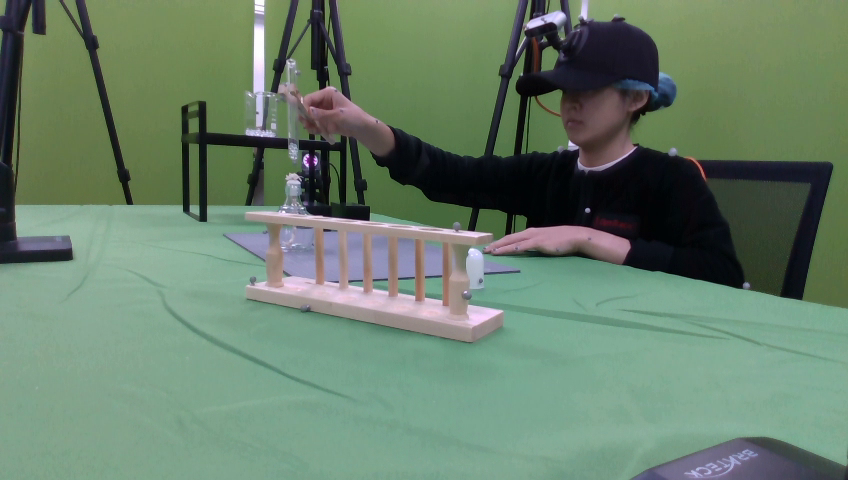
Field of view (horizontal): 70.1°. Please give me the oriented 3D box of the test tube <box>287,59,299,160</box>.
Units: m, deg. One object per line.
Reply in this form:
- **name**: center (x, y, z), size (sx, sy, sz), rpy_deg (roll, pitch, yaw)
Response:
- **test tube**: center (-0.193, -0.192, 0.890), size (0.017, 0.150, 0.017), rpy_deg (-1, -6, 0)

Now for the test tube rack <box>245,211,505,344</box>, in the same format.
- **test tube rack**: center (-0.049, 0.025, 0.547), size (0.241, 0.085, 0.067), rpy_deg (7, 8, 29)

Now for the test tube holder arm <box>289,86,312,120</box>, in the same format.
- **test tube holder arm**: center (-0.185, -0.206, 0.914), size (0.010, 0.015, 0.088), rpy_deg (5, -14, 6)

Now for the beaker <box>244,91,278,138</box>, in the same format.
- **beaker**: center (-0.368, -0.280, 1.356), size (0.074, 0.100, 0.084), rpy_deg (4, 8, 6)

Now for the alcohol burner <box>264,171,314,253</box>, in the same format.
- **alcohol burner**: center (-0.194, -0.042, 0.888), size (0.078, 0.119, 0.078), rpy_deg (3, 5, 0)

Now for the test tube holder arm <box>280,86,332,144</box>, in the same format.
- **test tube holder arm**: center (-0.183, -0.195, 0.958), size (0.013, 0.015, 0.179), rpy_deg (4, -14, 13)

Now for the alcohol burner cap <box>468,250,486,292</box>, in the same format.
- **alcohol burner cap**: center (0.056, 0.035, 0.690), size (0.034, 0.048, 0.034), rpy_deg (2, 7, 0)
